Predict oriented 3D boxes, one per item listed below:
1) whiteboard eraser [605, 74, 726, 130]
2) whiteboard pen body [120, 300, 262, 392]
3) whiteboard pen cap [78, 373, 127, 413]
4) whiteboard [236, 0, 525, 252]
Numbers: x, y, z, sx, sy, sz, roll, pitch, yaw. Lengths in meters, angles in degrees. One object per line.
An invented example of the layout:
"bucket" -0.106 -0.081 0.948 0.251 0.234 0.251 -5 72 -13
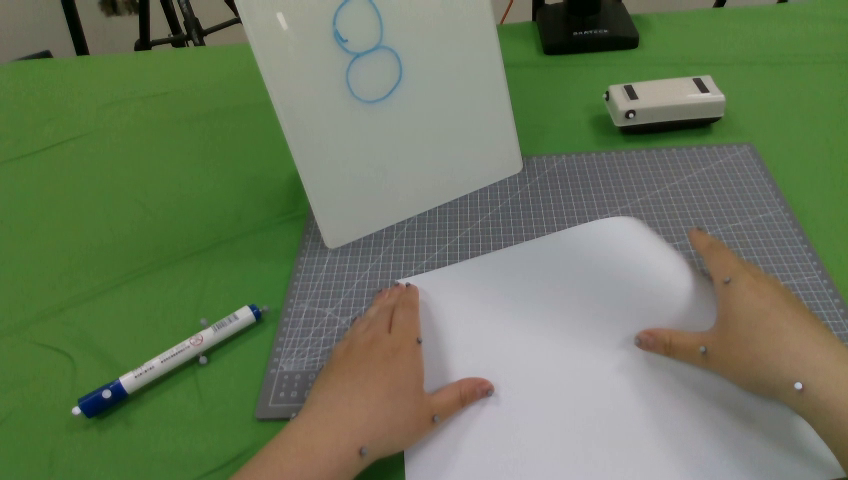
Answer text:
"whiteboard eraser" 0.255 -0.145 0.646 0.113 0.042 0.055 -4 47 2
"whiteboard pen body" -0.194 0.088 0.480 0.141 0.017 0.017 -31 49 -24
"whiteboard pen cap" -0.241 0.114 0.457 0.033 0.018 0.018 -32 50 -24
"whiteboard" -0.055 -0.184 0.580 0.217 0.308 0.142 -23 26 -14
